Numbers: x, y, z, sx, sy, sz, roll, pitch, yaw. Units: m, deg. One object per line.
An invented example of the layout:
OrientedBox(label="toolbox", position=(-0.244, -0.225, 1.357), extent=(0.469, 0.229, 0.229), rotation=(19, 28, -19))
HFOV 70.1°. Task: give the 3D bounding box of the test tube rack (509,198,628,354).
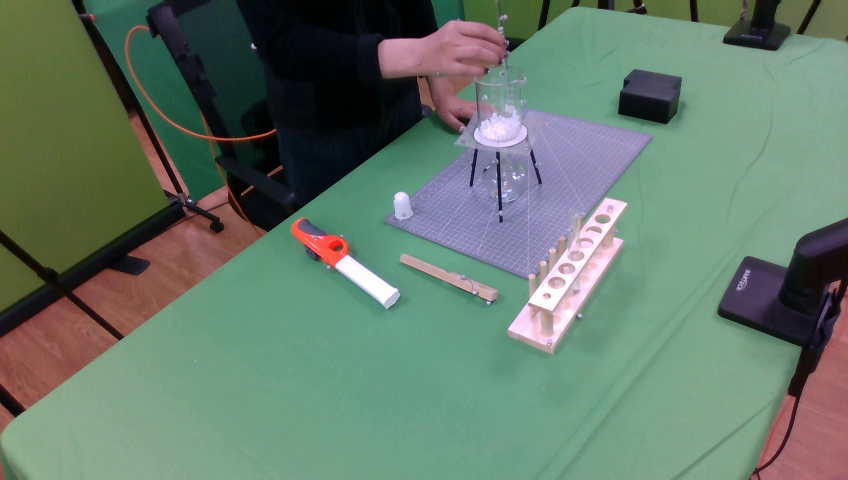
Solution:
OrientedBox(label="test tube rack", position=(0.206, 0.039, 0.850), extent=(0.066, 0.085, 0.243), rotation=(20, 48, 31))

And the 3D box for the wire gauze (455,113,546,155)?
OrientedBox(label="wire gauze", position=(0.124, -0.175, 0.973), extent=(0.124, 0.011, 0.121), rotation=(8, 39, 21))

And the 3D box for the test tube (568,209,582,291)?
OrientedBox(label="test tube", position=(0.200, 0.018, 0.799), extent=(0.017, 0.151, 0.017), rotation=(-8, 45, 8))

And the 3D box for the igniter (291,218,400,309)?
OrientedBox(label="igniter", position=(-0.136, 0.031, 0.970), extent=(0.057, 0.025, 0.274), rotation=(-41, 49, -19))

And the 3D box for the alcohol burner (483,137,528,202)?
OrientedBox(label="alcohol burner", position=(0.138, -0.125, 1.030), extent=(0.078, 0.119, 0.077), rotation=(-4, 41, 4))

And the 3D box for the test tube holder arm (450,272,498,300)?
OrientedBox(label="test tube holder arm", position=(0.071, 0.068, 0.894), extent=(0.087, 0.015, 0.010), rotation=(21, 15, 33))

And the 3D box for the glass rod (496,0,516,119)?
OrientedBox(label="glass rod", position=(0.126, -0.268, 0.914), extent=(0.008, 0.201, 0.008), rotation=(-9, 45, 9))

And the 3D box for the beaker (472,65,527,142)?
OrientedBox(label="beaker", position=(0.120, -0.211, 0.942), extent=(0.083, 0.101, 0.074), rotation=(10, 42, 22))

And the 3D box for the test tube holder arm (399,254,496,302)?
OrientedBox(label="test tube holder arm", position=(0.032, 0.055, 0.914), extent=(0.177, 0.015, 0.013), rotation=(21, 15, 32))

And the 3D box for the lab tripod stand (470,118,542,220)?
OrientedBox(label="lab tripod stand", position=(0.135, -0.128, 1.019), extent=(0.148, 0.132, 0.147), rotation=(-5, 38, 5))

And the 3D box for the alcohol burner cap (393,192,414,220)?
OrientedBox(label="alcohol burner cap", position=(-0.038, -0.061, 1.043), extent=(0.034, 0.048, 0.033), rotation=(-5, 41, 5))
